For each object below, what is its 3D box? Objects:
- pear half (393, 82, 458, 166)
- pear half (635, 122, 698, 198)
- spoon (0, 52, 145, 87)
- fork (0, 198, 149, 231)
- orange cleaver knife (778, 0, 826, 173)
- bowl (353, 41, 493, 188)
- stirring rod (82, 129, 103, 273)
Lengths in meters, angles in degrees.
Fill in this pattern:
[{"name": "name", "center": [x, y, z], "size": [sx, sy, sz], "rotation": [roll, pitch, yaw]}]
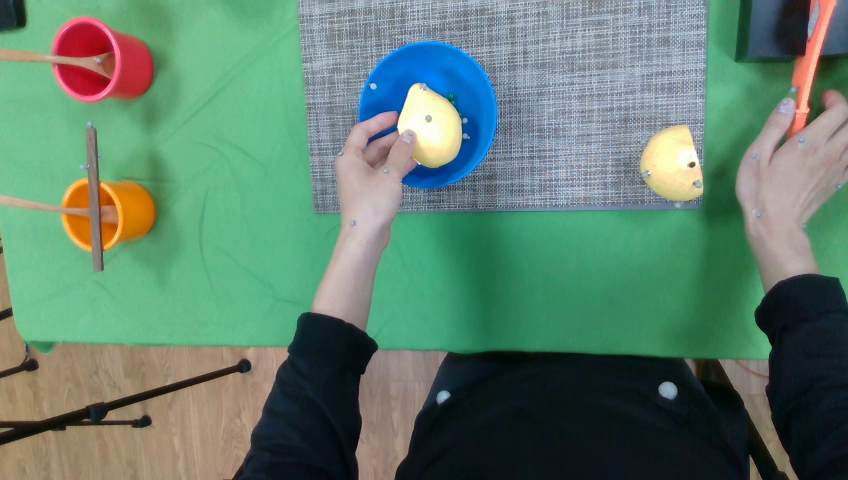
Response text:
[{"name": "pear half", "center": [0.005, -0.121, 0.625], "size": [0.070, 0.031, 0.088], "rotation": [-24, 104, -25]}, {"name": "pear half", "center": [0.242, -0.076, 0.604], "size": [0.056, 0.110, 0.076], "rotation": [-20, 90, 16]}, {"name": "spoon", "center": [-0.441, -0.212, 0.724], "size": [0.195, 0.021, 0.042], "rotation": [-2, 103, -31]}, {"name": "fork", "center": [-0.455, -0.037, 0.753], "size": [0.209, 0.018, 0.028], "rotation": [9, 115, -33]}, {"name": "orange cleaver knife", "center": [0.362, -0.166, 0.579], "size": [0.012, 0.077, 0.213], "rotation": [6, 130, 23]}, {"name": "bowl", "center": [0.006, -0.134, 0.665], "size": [0.151, 0.077, 0.151], "rotation": [2, 100, 13]}, {"name": "stirring rod", "center": [-0.405, -0.045, 0.739], "size": [0.014, 0.006, 0.176], "rotation": [4, 101, 10]}]
